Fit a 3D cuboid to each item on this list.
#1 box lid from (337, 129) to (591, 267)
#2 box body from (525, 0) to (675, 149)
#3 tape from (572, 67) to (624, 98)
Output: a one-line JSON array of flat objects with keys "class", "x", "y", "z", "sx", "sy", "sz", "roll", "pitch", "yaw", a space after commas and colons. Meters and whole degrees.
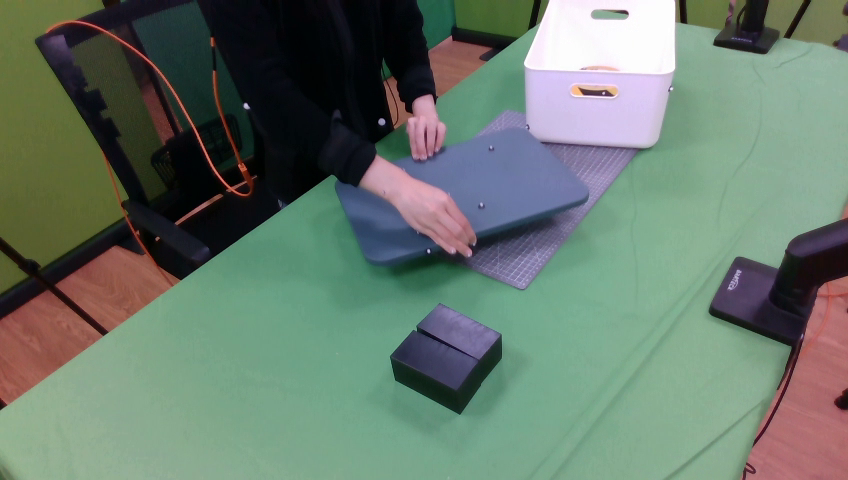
[{"class": "box lid", "x": 0.053, "y": -0.082, "z": 0.992, "sx": 0.373, "sy": 0.015, "sz": 0.261, "roll": -17, "pitch": 38, "yaw": -11}, {"class": "box body", "x": 0.356, "y": -0.342, "z": 1.212, "sx": 0.253, "sy": 0.161, "sz": 0.363, "roll": 7, "pitch": 42, "yaw": 17}, {"class": "tape", "x": 0.359, "y": -0.311, "z": 1.251, "sx": 0.117, "sy": 0.053, "sz": 0.116, "roll": -4, "pitch": 41, "yaw": 4}]
